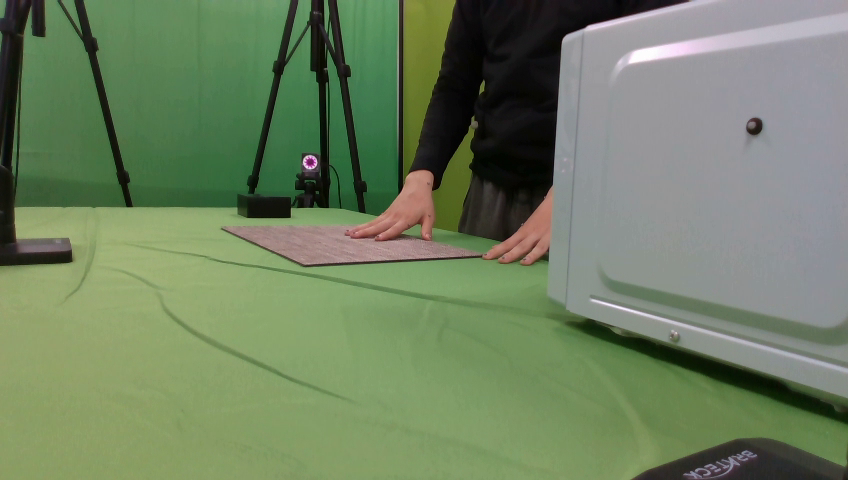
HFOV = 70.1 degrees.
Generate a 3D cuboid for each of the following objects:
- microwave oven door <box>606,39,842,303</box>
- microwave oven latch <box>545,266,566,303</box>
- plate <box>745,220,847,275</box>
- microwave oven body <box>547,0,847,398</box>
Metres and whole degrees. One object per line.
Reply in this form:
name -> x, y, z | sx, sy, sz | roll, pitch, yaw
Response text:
microwave oven door -> 0.341, -0.070, 0.654 | 0.358, 0.243, 0.039 | -3, 9, -31
microwave oven latch -> 0.148, 0.038, 0.555 | 0.079, 0.029, 0.030 | -2, 7, -29
plate -> 0.407, 0.008, 0.552 | 0.209, 0.038, 0.209 | 2, 6, 0
microwave oven body -> 0.378, -0.045, 0.509 | 0.444, 0.260, 0.324 | -2, 8, -31
